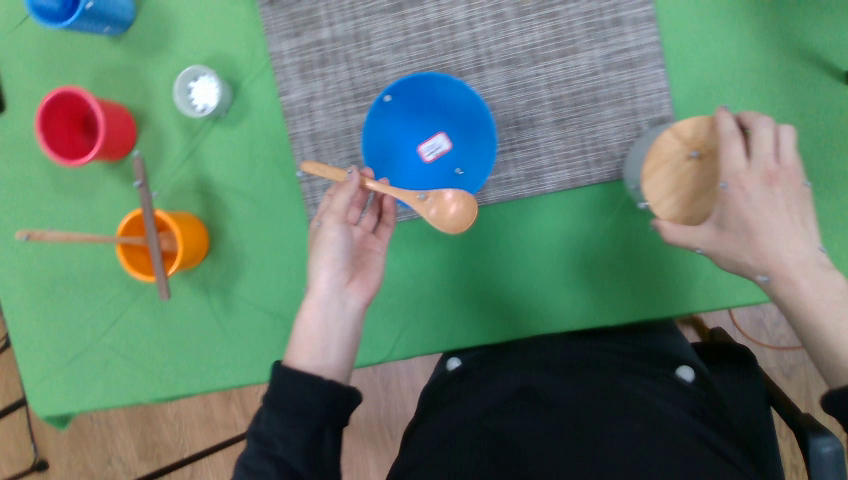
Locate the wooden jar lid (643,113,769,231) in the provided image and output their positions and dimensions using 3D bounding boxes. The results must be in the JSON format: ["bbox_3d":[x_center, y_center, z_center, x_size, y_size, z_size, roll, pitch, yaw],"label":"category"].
[{"bbox_3d":[0.258,-0.062,0.560,0.108,0.020,0.108,1,99,8],"label":"wooden jar lid"}]

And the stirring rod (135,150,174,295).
[{"bbox_3d":[-0.323,-0.020,0.726,0.014,0.006,0.176,-8,95,10],"label":"stirring rod"}]

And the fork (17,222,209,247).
[{"bbox_3d":[-0.372,-0.008,0.739,0.209,0.018,0.028,3,102,-33],"label":"fork"}]

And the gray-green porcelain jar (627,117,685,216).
[{"bbox_3d":[0.268,-0.072,0.620,0.105,0.126,0.106,1,100,9],"label":"gray-green porcelain jar"}]

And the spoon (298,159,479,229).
[{"bbox_3d":[-0.038,-0.052,0.569,0.193,0.022,0.041,18,89,16],"label":"spoon"}]

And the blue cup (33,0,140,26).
[{"bbox_3d":[-0.403,-0.301,0.734,0.092,0.100,0.093,2,97,12],"label":"blue cup"}]

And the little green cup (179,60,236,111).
[{"bbox_3d":[-0.267,-0.190,0.754,0.061,0.038,0.061,1,97,11],"label":"little green cup"}]

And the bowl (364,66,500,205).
[{"bbox_3d":[0.015,-0.113,0.686,0.151,0.077,0.151,1,97,11],"label":"bowl"}]
